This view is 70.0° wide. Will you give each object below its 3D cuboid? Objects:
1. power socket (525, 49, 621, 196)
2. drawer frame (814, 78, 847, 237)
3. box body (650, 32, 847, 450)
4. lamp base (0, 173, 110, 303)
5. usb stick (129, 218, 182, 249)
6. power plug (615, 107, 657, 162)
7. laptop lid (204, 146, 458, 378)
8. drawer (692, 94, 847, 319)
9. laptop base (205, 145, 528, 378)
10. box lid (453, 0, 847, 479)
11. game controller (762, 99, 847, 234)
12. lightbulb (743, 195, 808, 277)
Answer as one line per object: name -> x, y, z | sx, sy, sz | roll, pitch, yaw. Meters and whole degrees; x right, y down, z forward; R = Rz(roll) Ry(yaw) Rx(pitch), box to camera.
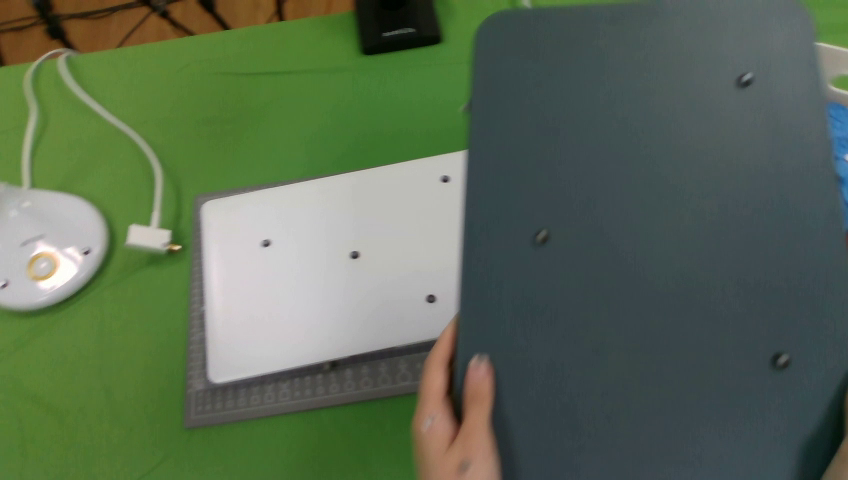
power socket -> 0.186, -0.158, 0.775 | 0.072, 0.033, 0.224 | -10, 61, -2
drawer frame -> 0.395, -0.049, 0.603 | 0.083, 0.213, 0.202 | -36, 97, 0
box body -> 0.401, 0.001, 0.598 | 0.253, 0.162, 0.362 | 21, 65, 15
lamp base -> -0.480, -0.042, 0.681 | 0.160, 0.182, 0.177 | -35, 61, -14
usb stick -> -0.321, -0.006, 0.728 | 0.059, 0.021, 0.027 | 16, 64, -25
power plug -> 0.267, -0.127, 0.748 | 0.073, 0.053, 0.035 | -24, 57, -28
laptop lid -> -0.078, 0.013, 0.698 | 0.357, 0.013, 0.239 | -10, 64, -1
drawer -> 0.418, -0.036, 0.646 | 0.193, 0.074, 0.211 | 19, 70, 18
laptop base -> -0.077, 0.017, 0.709 | 0.354, 0.023, 0.233 | -11, 65, -2
box lid -> 0.154, -0.020, 0.435 | 0.263, 0.015, 0.369 | -1, 71, 7
game controller -> 0.420, -0.082, 0.623 | 0.097, 0.052, 0.154 | 1, 62, 1
lightbulb -> 0.368, -0.008, 0.649 | 0.059, 0.060, 0.106 | 0, 48, 5
